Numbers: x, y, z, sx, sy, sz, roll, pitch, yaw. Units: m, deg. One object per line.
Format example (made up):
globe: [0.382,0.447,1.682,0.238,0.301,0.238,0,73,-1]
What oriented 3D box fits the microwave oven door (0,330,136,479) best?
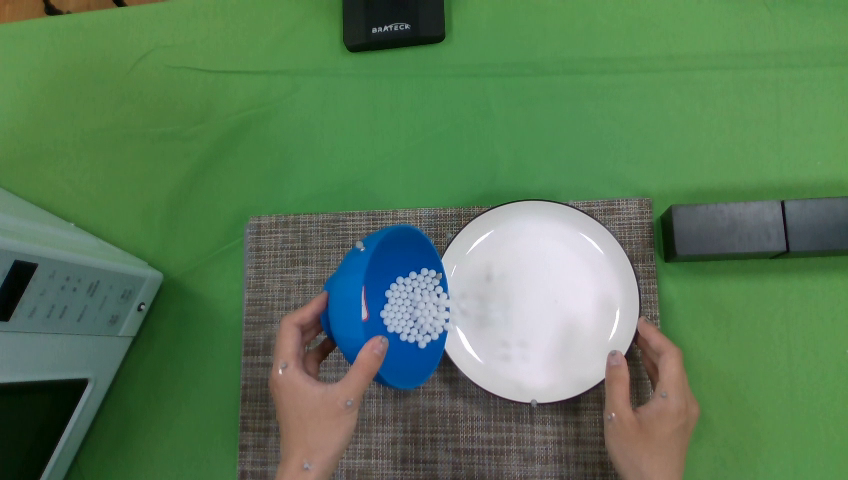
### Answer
microwave oven door: [-0.433,0.242,0.559,0.039,0.245,0.355,24,85,13]

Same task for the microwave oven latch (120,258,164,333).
microwave oven latch: [-0.322,0.063,0.676,0.030,0.029,0.079,26,86,12]

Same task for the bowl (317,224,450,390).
bowl: [-0.046,0.063,0.569,0.076,0.152,0.151,-5,79,31]

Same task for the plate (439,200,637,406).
plate: [0.108,0.063,0.624,0.207,0.039,0.207,-1,80,8]

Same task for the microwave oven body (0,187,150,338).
microwave oven body: [-0.545,0.147,0.598,0.325,0.261,0.441,24,85,12]
